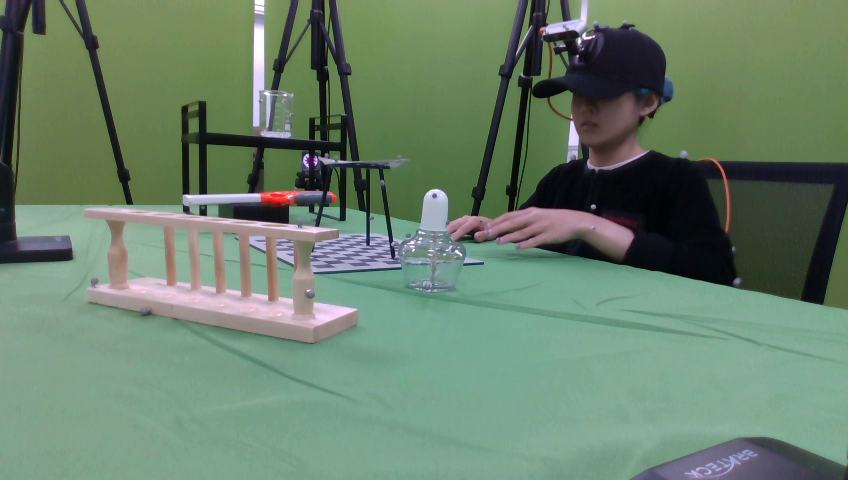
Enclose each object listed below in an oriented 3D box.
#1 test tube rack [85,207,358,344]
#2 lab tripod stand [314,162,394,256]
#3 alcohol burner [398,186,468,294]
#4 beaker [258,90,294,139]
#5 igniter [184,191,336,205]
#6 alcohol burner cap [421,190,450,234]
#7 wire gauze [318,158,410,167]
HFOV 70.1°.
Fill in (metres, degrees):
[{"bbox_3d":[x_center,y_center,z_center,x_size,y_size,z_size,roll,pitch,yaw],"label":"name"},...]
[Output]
[{"bbox_3d":[-0.177,0.022,0.518,0.241,0.085,0.067,6,7,23],"label":"test tube rack"},{"bbox_3d":[-0.098,-0.048,0.897,0.148,0.131,0.148,1,6,0],"label":"lab tripod stand"},{"bbox_3d":[0.011,-0.001,0.669,0.078,0.119,0.078,5,8,0],"label":"alcohol burner"},{"bbox_3d":[-0.324,-0.274,1.331,0.083,0.100,0.074,7,9,24],"label":"beaker"},{"bbox_3d":[-0.298,-0.078,1.126,0.278,0.025,0.057,-4,13,-32],"label":"igniter"},{"bbox_3d":[0.014,-0.031,0.665,0.034,0.048,0.034,5,9,0],"label":"alcohol burner cap"},{"bbox_3d":[-0.090,-0.114,0.888,0.122,0.011,0.124,0,6,-15],"label":"wire gauze"}]
